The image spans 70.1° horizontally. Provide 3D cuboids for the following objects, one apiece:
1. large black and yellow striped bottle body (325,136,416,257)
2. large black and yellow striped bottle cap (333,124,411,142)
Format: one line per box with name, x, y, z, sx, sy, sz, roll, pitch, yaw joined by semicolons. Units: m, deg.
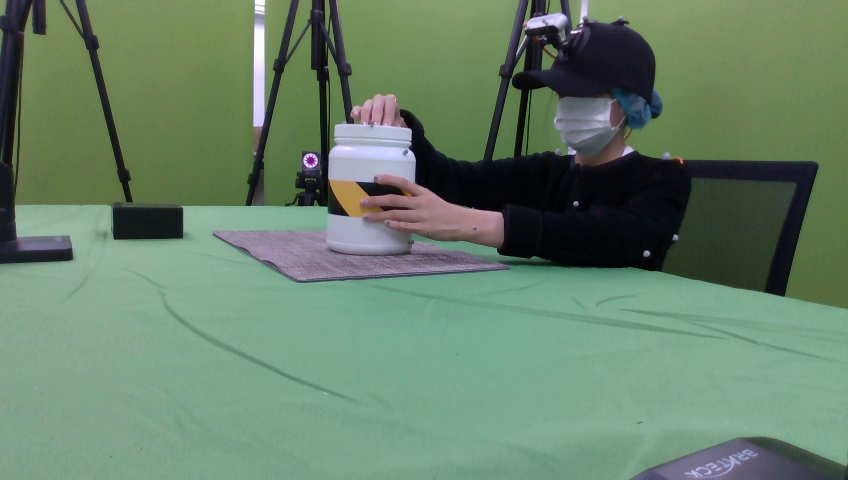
large black and yellow striped bottle body;-0.079;-0.074;0.905;0.131;0.184;0.130;3;7;0
large black and yellow striped bottle cap;-0.076;-0.157;0.895;0.115;0.019;0.115;5;7;0
